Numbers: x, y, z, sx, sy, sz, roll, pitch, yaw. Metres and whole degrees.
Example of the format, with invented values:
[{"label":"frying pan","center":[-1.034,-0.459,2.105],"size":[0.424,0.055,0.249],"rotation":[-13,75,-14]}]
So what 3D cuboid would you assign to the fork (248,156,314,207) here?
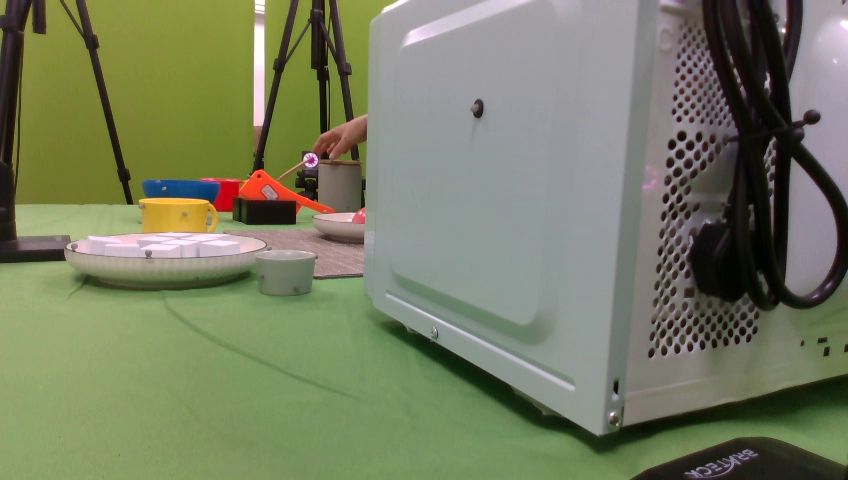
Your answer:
[{"label":"fork","center":[-0.360,-0.147,1.523],"size":[0.207,0.019,0.028],"rotation":[-43,17,-6]}]

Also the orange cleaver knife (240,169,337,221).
[{"label":"orange cleaver knife","center":[-0.287,-0.082,1.298],"size":[0.212,0.077,0.012],"rotation":[25,-2,-31]}]

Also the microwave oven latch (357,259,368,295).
[{"label":"microwave oven latch","center":[-0.019,0.031,0.529],"size":[0.079,0.029,0.030],"rotation":[-1,7,-26]}]

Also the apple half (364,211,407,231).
[{"label":"apple half","center":[-0.068,-0.037,1.103],"size":[0.081,0.033,0.081],"rotation":[-1,9,1]}]

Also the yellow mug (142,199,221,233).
[{"label":"yellow mug","center":[-0.372,-0.030,0.947],"size":[0.099,0.064,0.131],"rotation":[6,7,30]}]

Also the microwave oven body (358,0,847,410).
[{"label":"microwave oven body","center":[0.210,-0.051,0.471],"size":[0.444,0.260,0.324],"rotation":[-1,7,-28]}]

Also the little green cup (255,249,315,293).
[{"label":"little green cup","center":[-0.144,0.031,0.627],"size":[0.061,0.038,0.061],"rotation":[2,6,0]}]

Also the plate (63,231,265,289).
[{"label":"plate","center":[-0.288,0.021,0.687],"size":[0.208,0.039,0.207],"rotation":[2,8,0]}]

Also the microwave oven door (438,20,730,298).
[{"label":"microwave oven door","center":[0.181,-0.076,0.618],"size":[0.358,0.243,0.039],"rotation":[-2,8,-28]}]

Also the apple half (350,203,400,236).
[{"label":"apple half","center":[-0.081,-0.036,1.024],"size":[0.081,0.053,0.074],"rotation":[-2,11,-34]}]

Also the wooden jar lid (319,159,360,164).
[{"label":"wooden jar lid","center":[-0.202,-0.189,1.482],"size":[0.108,0.020,0.108],"rotation":[2,9,0]}]

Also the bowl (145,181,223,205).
[{"label":"bowl","center":[-0.499,-0.081,1.261],"size":[0.151,0.077,0.151],"rotation":[2,8,0]}]

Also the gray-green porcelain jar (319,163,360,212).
[{"label":"gray-green porcelain jar","center":[-0.205,-0.126,1.490],"size":[0.106,0.126,0.106],"rotation":[2,7,0]}]

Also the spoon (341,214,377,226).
[{"label":"spoon","center":[-0.132,-0.048,1.305],"size":[0.041,0.021,0.194],"rotation":[-16,3,14]}]

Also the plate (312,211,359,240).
[{"label":"plate","center":[-0.091,-0.026,1.063],"size":[0.209,0.038,0.209],"rotation":[2,7,0]}]
